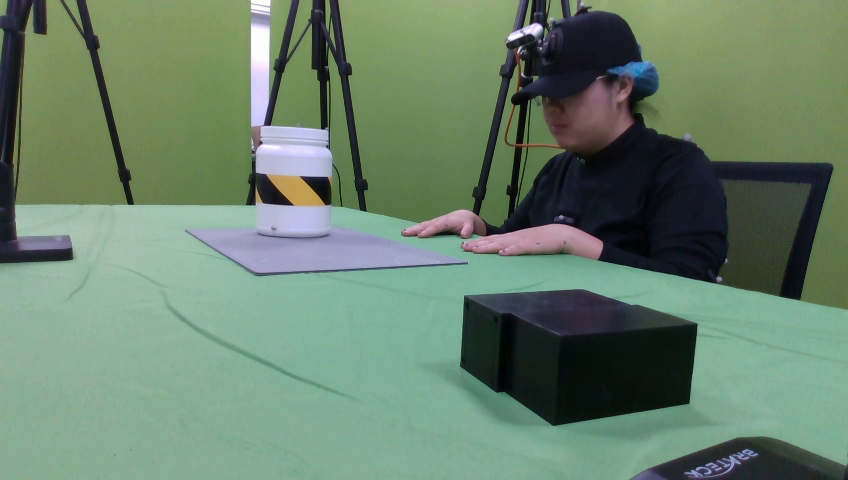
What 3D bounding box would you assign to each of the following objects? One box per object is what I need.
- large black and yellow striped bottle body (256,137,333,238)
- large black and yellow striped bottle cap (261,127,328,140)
[{"bbox_3d":[-0.228,-0.102,1.063,0.131,0.184,0.130,3,8,0],"label":"large black and yellow striped bottle body"},{"bbox_3d":[-0.224,-0.184,1.051,0.115,0.019,0.115,2,6,0],"label":"large black and yellow striped bottle cap"}]
